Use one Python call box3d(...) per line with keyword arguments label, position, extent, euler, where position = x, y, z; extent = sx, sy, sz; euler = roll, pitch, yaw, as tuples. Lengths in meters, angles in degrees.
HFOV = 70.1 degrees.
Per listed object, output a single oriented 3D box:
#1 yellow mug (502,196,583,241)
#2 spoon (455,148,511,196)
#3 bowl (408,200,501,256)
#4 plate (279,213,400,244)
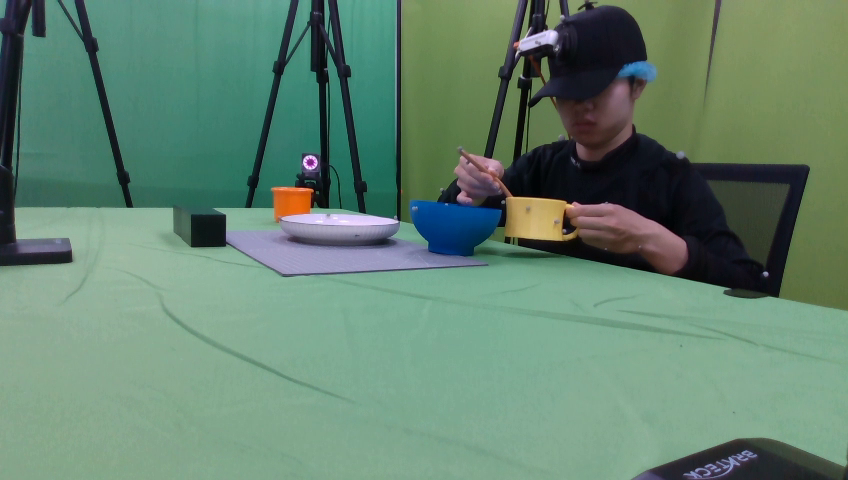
box3d(label="yellow mug", position=(0.195, -0.034, 0.988), extent=(0.131, 0.064, 0.100), euler=(5, 1, 1))
box3d(label="spoon", position=(0.123, -0.085, 0.987), extent=(0.194, 0.021, 0.041), euler=(44, 2, -10))
box3d(label="bowl", position=(0.045, -0.019, 0.967), extent=(0.151, 0.077, 0.151), euler=(6, 5, 0))
box3d(label="plate", position=(-0.147, -0.020, 1.060), extent=(0.209, 0.038, 0.209), euler=(3, 7, 0))
